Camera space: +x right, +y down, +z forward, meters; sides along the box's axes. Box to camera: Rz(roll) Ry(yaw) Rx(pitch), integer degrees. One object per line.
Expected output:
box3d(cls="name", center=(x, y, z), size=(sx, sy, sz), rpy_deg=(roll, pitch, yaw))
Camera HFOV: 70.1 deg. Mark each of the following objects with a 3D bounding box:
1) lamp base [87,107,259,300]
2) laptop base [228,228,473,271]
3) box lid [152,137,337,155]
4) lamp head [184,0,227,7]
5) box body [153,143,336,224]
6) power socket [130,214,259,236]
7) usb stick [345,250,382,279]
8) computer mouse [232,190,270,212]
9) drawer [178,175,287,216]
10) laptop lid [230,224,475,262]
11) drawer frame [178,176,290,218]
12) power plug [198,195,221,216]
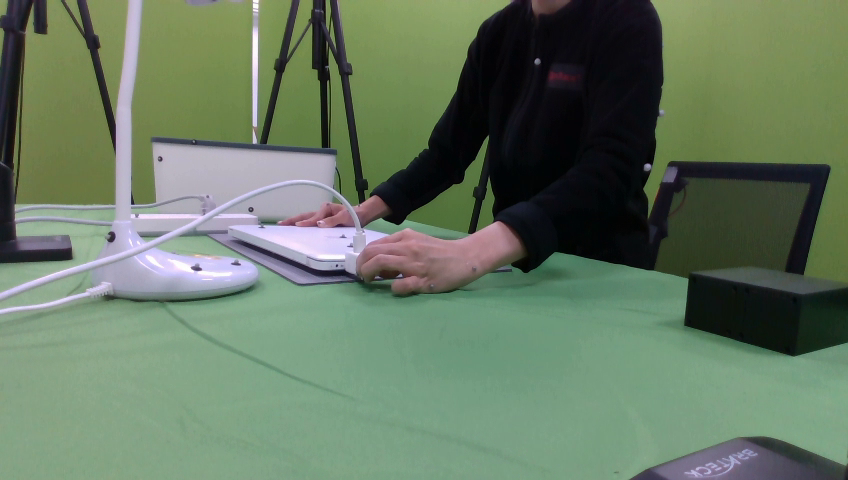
box3d(cls="lamp base", center=(-0.254, -0.039, 0.603), size=(0.160, 0.180, 0.179), rpy_deg=(4, 10, 18))
box3d(cls="laptop base", center=(-0.122, 0.012, 0.889), size=(0.237, 0.023, 0.352), rpy_deg=(2, 6, -35))
box3d(cls="box lid", center=(-0.379, -0.203, 1.334), size=(0.372, 0.015, 0.262), rpy_deg=(2, 7, -9))
box3d(cls="lamp head", center=(-0.229, -0.320, 0.627), size=(0.112, 0.112, 0.123), rpy_deg=(6, -36, 26))
box3d(cls="box body", center=(-0.380, -0.130, 1.344), size=(0.365, 0.160, 0.253), rpy_deg=(1, 7, -9))
box3d(cls="power socket", center=(-0.397, -0.028, 1.048), size=(0.228, 0.032, 0.072), rpy_deg=(-3, 7, -35))
box3d(cls="usb stick", center=(-0.073, 0.027, 0.687), size=(0.021, 0.027, 0.059), rpy_deg=(-11, 10, -35))
box3d(cls="computer mouse", center=(-0.382, -0.086, 1.343), size=(0.063, 0.041, 0.117), rpy_deg=(10, 10, -4))
box3d(cls="drawer", center=(-0.414, -0.104, 1.342), size=(0.212, 0.073, 0.194), rpy_deg=(5, 6, -11))
box3d(cls="laptop lid", center=(-0.119, 0.001, 0.888), size=(0.243, 0.013, 0.355), rpy_deg=(1, 7, -33))
box3d(cls="drawer frame", center=(-0.409, -0.099, 1.340), size=(0.214, 0.082, 0.201), rpy_deg=(-4, 7, -10))
box3d(cls="power plug", center=(-0.386, -0.055, 1.088), size=(0.035, 0.052, 0.072), rpy_deg=(-2, 7, -24))
